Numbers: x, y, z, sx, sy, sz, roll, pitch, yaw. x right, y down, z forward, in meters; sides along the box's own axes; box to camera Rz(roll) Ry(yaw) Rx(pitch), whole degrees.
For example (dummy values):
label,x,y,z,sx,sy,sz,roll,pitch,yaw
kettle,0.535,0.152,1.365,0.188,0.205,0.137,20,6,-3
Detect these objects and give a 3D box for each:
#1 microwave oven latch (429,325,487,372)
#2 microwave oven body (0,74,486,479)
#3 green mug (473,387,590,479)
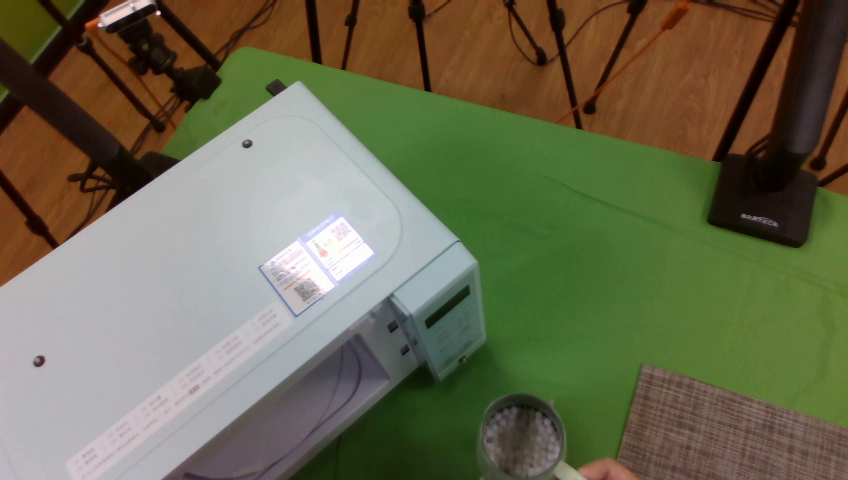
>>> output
label,x,y,z,sx,sy,sz,roll,pitch,yaw
microwave oven latch,0.041,0.124,0.733,0.079,0.030,0.030,-37,65,-10
microwave oven body,-0.201,0.094,0.672,0.441,0.262,0.323,-39,66,-11
green mug,0.106,0.204,0.591,0.124,0.106,0.092,33,72,20
